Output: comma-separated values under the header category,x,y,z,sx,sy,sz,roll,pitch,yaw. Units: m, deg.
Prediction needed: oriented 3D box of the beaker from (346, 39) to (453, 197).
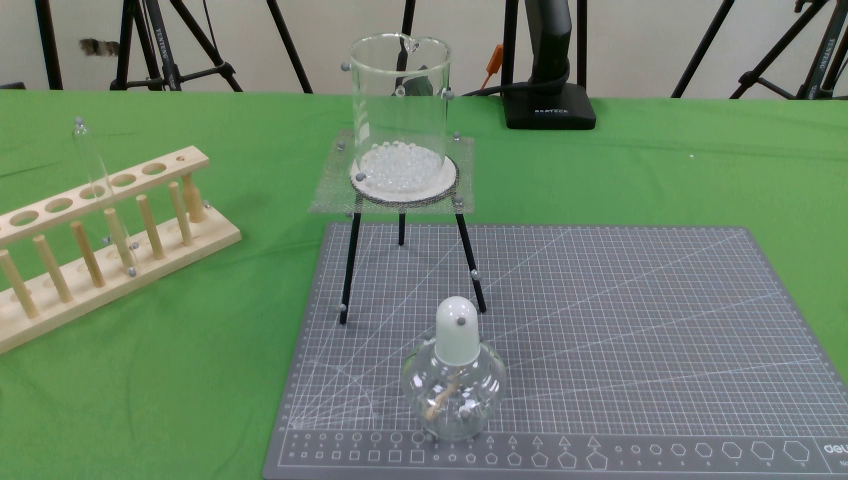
category,x,y,z,sx,sy,sz,roll,pitch,yaw
beaker,-0.018,-0.091,0.456,0.074,0.101,0.083,8,39,7

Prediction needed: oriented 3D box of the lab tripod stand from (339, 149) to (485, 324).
category,x,y,z,sx,sy,sz,roll,pitch,yaw
lab tripod stand,-0.012,-0.001,0.528,0.148,0.132,0.147,2,37,-1

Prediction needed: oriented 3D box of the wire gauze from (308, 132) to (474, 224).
category,x,y,z,sx,sy,sz,roll,pitch,yaw
wire gauze,-0.021,-0.052,0.485,0.121,0.011,0.124,3,41,2

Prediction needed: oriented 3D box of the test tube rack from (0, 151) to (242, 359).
category,x,y,z,sx,sy,sz,roll,pitch,yaw
test tube rack,-0.300,0.007,0.558,0.242,0.086,0.066,-30,47,-32

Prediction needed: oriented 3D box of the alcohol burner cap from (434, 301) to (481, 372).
category,x,y,z,sx,sy,sz,roll,pitch,yaw
alcohol burner cap,0.023,0.062,0.407,0.034,0.048,0.033,-1,38,2

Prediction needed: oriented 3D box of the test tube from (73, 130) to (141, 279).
category,x,y,z,sx,sy,sz,roll,pitch,yaw
test tube,-0.275,-0.026,0.529,0.017,0.151,0.017,1,37,0

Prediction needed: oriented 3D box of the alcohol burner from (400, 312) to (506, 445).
category,x,y,z,sx,sy,sz,roll,pitch,yaw
alcohol burner,0.021,0.090,0.429,0.078,0.120,0.077,1,40,0
